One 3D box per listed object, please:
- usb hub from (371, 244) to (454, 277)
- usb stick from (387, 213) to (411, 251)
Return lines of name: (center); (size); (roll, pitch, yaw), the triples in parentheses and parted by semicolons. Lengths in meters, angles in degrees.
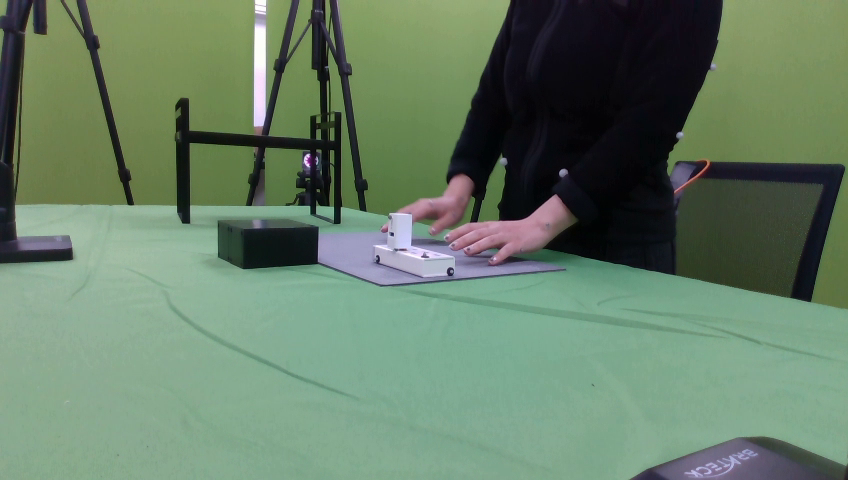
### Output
usb hub: (-0.018, 0.024, 0.777); (0.050, 0.025, 0.124); (-3, 8, -35)
usb stick: (-0.032, -0.005, 0.767); (0.027, 0.059, 0.021); (0, 0, -34)
